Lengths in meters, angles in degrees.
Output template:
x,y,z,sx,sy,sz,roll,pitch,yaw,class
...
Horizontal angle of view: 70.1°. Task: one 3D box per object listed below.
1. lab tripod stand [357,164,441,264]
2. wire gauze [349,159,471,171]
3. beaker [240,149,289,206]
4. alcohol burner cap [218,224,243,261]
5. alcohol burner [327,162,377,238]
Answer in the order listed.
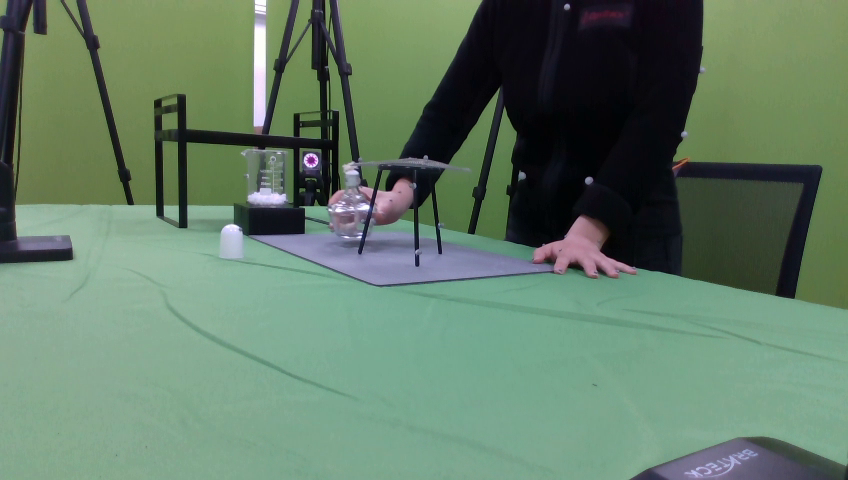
x,y,z,sx,sy,sz,roll,pitch,yaw,class
-0.023,-0.041,0.859,0.148,0.131,0.148,2,5,0,lab tripod stand
-0.019,-0.106,0.847,0.121,0.011,0.126,8,7,42,wire gauze
-0.286,-0.112,1.086,0.084,0.100,0.073,-1,9,-23,beaker
-0.263,0.002,0.824,0.034,0.048,0.034,5,9,0,alcohol burner cap
-0.113,-0.063,0.943,0.078,0.119,0.078,-1,14,1,alcohol burner
